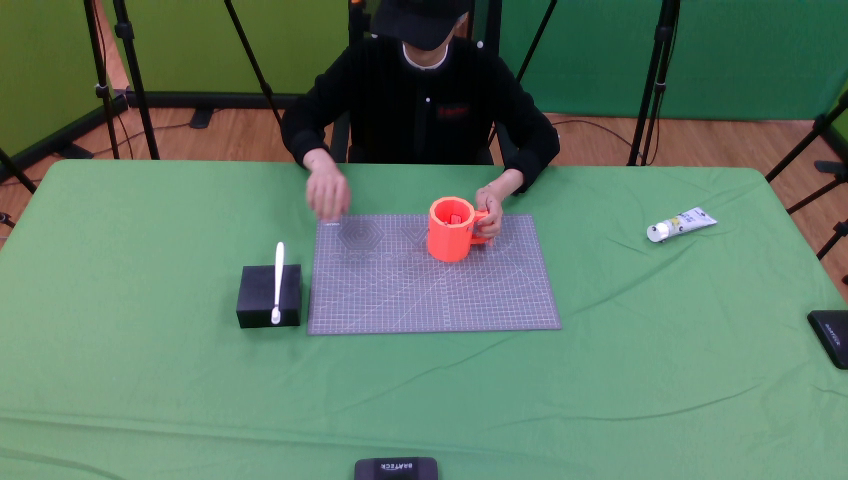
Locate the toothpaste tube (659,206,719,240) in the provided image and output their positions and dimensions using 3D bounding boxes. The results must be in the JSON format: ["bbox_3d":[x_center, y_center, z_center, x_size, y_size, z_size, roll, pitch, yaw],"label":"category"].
[{"bbox_3d":[0.542,-0.035,1.259,0.165,0.034,0.054,-19,54,-26],"label":"toothpaste tube"}]

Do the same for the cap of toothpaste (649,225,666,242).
[{"bbox_3d":[0.473,-0.015,1.226,0.011,0.037,0.037,-20,50,-26],"label":"cap of toothpaste"}]

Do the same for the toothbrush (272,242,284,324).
[{"bbox_3d":[-0.253,0.068,1.048,0.014,0.017,0.180,-5,46,-4],"label":"toothbrush"}]

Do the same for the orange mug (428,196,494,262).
[{"bbox_3d":[0.070,-0.023,1.164,0.126,0.101,0.083,-7,46,-5],"label":"orange mug"}]
